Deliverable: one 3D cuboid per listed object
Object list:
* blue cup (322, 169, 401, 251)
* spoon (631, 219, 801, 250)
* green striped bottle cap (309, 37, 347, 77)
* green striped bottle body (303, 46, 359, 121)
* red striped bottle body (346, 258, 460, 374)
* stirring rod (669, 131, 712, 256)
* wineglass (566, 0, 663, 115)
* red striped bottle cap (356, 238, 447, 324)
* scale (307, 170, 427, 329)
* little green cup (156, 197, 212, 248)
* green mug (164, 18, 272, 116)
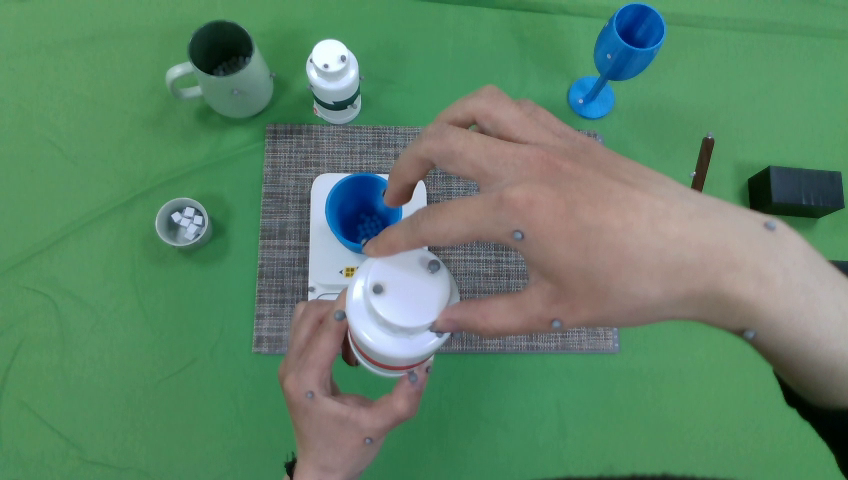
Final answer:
[{"bbox_3d":[-0.072,-0.026,0.702,0.093,0.100,0.092,1,78,-6],"label":"blue cup"},{"bbox_3d":[0.347,-0.001,0.738,0.022,0.192,0.041,21,80,-44],"label":"spoon"},{"bbox_3d":[-0.114,-0.216,0.715,0.044,0.020,0.044,1,75,-4],"label":"green striped bottle cap"},{"bbox_3d":[-0.116,-0.203,0.765,0.063,0.119,0.063,1,76,-3],"label":"green striped bottle body"},{"bbox_3d":[-0.015,0.043,0.360,0.063,0.120,0.062,2,71,-6],"label":"red striped bottle body"},{"bbox_3d":[0.328,-0.052,0.748,0.014,0.177,0.006,6,36,11],"label":"stirring rod"},{"bbox_3d":[0.235,-0.227,0.769,0.074,0.173,0.073,1,76,-3],"label":"wineglass"},{"bbox_3d":[-0.011,0.021,0.305,0.045,0.017,0.044,2,82,-17],"label":"red striped bottle cap"},{"bbox_3d":[-0.071,0.009,0.760,0.149,0.031,0.200,-1,77,-4],"label":"scale"},{"bbox_3d":[-0.294,-0.020,0.750,0.061,0.039,0.061,1,76,-5],"label":"little green cup"},{"bbox_3d":[-0.262,-0.210,0.764,0.125,0.105,0.092,-22,79,-8],"label":"green mug"}]
